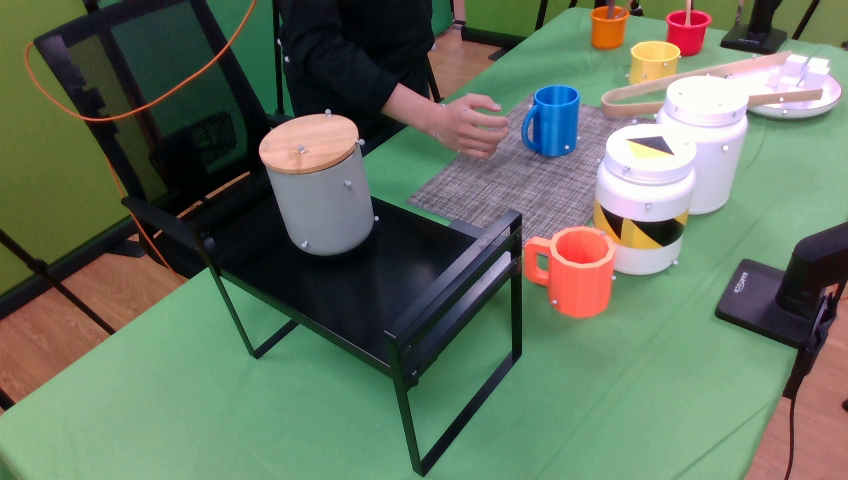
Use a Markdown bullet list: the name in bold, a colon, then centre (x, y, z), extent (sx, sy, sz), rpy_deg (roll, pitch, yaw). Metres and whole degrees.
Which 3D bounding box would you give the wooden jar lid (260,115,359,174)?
- **wooden jar lid**: centre (-0.124, -0.101, 0.662), extent (0.108, 0.021, 0.108), rpy_deg (-4, 41, 4)

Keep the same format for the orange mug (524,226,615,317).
- **orange mug**: centre (0.201, 0.039, 0.845), extent (0.125, 0.101, 0.083), rpy_deg (18, 46, 21)

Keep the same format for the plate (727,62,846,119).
- **plate**: centre (0.709, -0.292, 1.197), extent (0.207, 0.039, 0.206), rpy_deg (-4, 40, 4)

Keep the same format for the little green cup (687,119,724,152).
- **little green cup**: centre (0.514, -0.191, 1.109), extent (0.061, 0.039, 0.061), rpy_deg (-5, 40, 5)

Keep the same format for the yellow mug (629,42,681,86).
- **yellow mug**: centre (0.495, -0.389, 1.321), extent (0.100, 0.064, 0.130), rpy_deg (-14, 40, -7)

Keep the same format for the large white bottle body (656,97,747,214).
- **large white bottle body**: centre (0.431, -0.148, 0.959), extent (0.130, 0.185, 0.130), rpy_deg (-4, 41, 4)

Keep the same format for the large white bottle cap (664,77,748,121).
- **large white bottle cap**: centre (0.421, -0.212, 0.905), extent (0.115, 0.018, 0.114), rpy_deg (-4, 40, 4)

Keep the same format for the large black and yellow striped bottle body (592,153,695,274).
- **large black and yellow striped bottle body**: centre (0.313, -0.056, 0.872), extent (0.131, 0.185, 0.130), rpy_deg (-4, 41, 4)

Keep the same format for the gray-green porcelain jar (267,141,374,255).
- **gray-green porcelain jar**: centre (-0.116, -0.054, 0.703), extent (0.106, 0.127, 0.105), rpy_deg (-4, 40, 4)

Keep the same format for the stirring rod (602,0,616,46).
- **stirring rod**: centre (0.453, -0.553, 1.463), extent (0.014, 0.006, 0.176), rpy_deg (11, 85, 14)

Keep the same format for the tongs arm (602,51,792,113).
- **tongs arm**: centre (0.552, -0.320, 1.224), extent (0.384, 0.027, 0.050), rpy_deg (-10, 43, 7)

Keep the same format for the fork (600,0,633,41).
- **fork**: centre (0.489, -0.561, 1.431), extent (0.019, 0.207, 0.028), rpy_deg (-6, 48, -46)

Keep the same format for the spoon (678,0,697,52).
- **spoon**: centre (0.614, -0.526, 1.402), extent (0.041, 0.022, 0.193), rpy_deg (3, 86, 11)

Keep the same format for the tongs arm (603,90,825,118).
- **tongs arm**: centre (0.546, -0.262, 1.163), extent (0.386, 0.028, 0.028), rpy_deg (-1, 49, 18)

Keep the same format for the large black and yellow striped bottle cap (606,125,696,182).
- **large black and yellow striped bottle cap**: centre (0.305, -0.119, 0.816), extent (0.115, 0.019, 0.114), rpy_deg (-5, 41, 5)

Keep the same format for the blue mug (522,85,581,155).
- **blue mug**: centre (0.233, -0.218, 1.127), extent (0.117, 0.106, 0.081), rpy_deg (-23, 43, -16)
